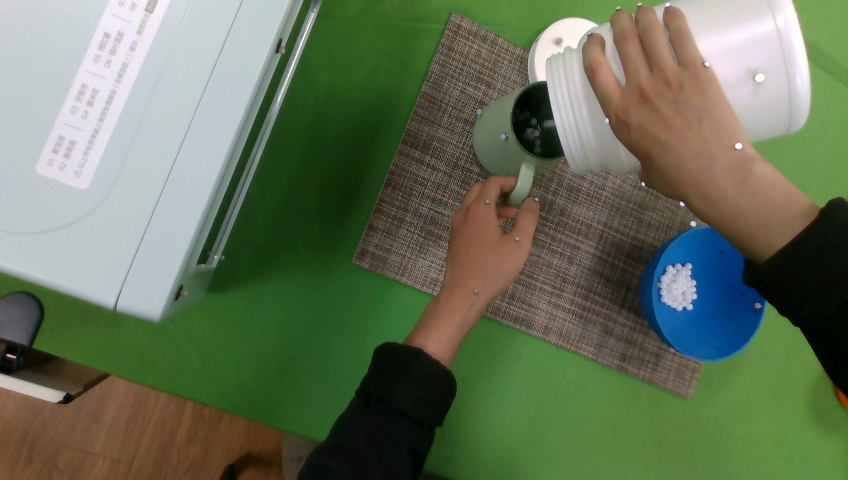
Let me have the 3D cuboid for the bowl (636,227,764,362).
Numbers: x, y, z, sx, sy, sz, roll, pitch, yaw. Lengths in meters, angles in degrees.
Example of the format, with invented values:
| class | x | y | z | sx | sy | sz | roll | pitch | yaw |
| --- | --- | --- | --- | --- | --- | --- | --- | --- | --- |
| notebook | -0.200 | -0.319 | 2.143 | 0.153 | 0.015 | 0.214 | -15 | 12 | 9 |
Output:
| class | x | y | z | sx | sy | sz | roll | pitch | yaw |
| --- | --- | --- | --- | --- | --- | --- | --- | --- | --- |
| bowl | 0.304 | 0.062 | 0.704 | 0.152 | 0.076 | 0.151 | 1 | 88 | -15 |

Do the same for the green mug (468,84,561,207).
| class | x | y | z | sx | sy | sz | roll | pitch | yaw |
| --- | --- | --- | --- | --- | --- | --- | --- | --- | --- |
| green mug | 0.099 | -0.096 | 0.639 | 0.093 | 0.104 | 0.125 | 14 | 85 | -15 |

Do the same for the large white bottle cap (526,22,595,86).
| class | x | y | z | sx | sy | sz | roll | pitch | yaw |
| --- | --- | --- | --- | --- | --- | --- | --- | --- | --- |
| large white bottle cap | 0.174 | -0.195 | 0.706 | 0.115 | 0.018 | 0.114 | 1 | 88 | -16 |

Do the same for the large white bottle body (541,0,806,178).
| class | x | y | z | sx | sy | sz | roll | pitch | yaw |
| --- | --- | --- | --- | --- | --- | --- | --- | --- | --- |
| large white bottle body | 0.203 | -0.128 | 0.515 | 0.184 | 0.131 | 0.130 | -14 | 92 | 22 |

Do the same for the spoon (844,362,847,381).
| class | x | y | z | sx | sy | sz | roll | pitch | yaw |
| --- | --- | --- | --- | --- | --- | --- | --- | --- | --- |
| spoon | 0.618 | 0.223 | 0.754 | 0.041 | 0.191 | 0.022 | -30 | 140 | -19 |

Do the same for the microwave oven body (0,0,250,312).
| class | x | y | z | sx | sy | sz | roll | pitch | yaw |
| --- | --- | --- | --- | --- | --- | --- | --- | --- | --- |
| microwave oven body | -0.261 | -0.204 | 0.464 | 0.327 | 0.259 | 0.440 | 22 | 84 | -14 |

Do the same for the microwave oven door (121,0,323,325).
| class | x | y | z | sx | sy | sz | roll | pitch | yaw |
| --- | --- | --- | --- | --- | --- | --- | --- | --- | --- |
| microwave oven door | -0.141 | -0.112 | 0.490 | 0.039 | 0.243 | 0.355 | 21 | 83 | -13 |
